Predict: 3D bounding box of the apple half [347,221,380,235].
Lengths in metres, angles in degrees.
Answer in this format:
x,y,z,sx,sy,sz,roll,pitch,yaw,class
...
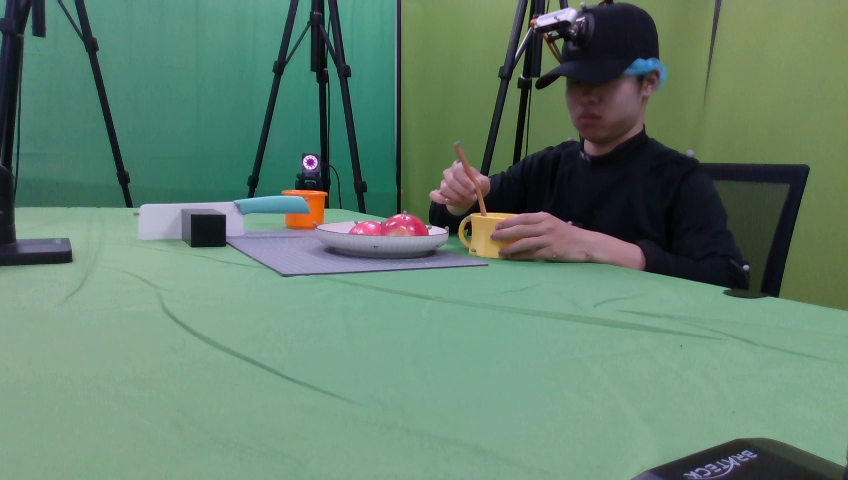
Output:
x,y,z,sx,sy,sz,roll,pitch,yaw,class
-0.089,-0.014,0.985,0.081,0.033,0.081,5,6,0,apple half

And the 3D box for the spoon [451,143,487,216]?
x,y,z,sx,sy,sz,roll,pitch,yaw,class
0.086,-0.068,0.978,0.022,0.193,0.041,-21,1,-8,spoon

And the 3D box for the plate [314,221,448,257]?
x,y,z,sx,sy,sz,roll,pitch,yaw,class
-0.067,-0.002,0.948,0.209,0.038,0.209,3,7,0,plate

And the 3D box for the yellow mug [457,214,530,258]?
x,y,z,sx,sy,sz,roll,pitch,yaw,class
0.109,-0.010,0.992,0.130,0.064,0.100,6,6,37,yellow mug

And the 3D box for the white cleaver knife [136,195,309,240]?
x,y,z,sx,sy,sz,roll,pitch,yaw,class
-0.337,-0.039,1.037,0.288,0.066,0.021,-6,15,-29,white cleaver knife

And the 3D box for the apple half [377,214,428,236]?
x,y,z,sx,sy,sz,roll,pitch,yaw,class
-0.034,-0.013,0.924,0.080,0.053,0.075,5,10,16,apple half
